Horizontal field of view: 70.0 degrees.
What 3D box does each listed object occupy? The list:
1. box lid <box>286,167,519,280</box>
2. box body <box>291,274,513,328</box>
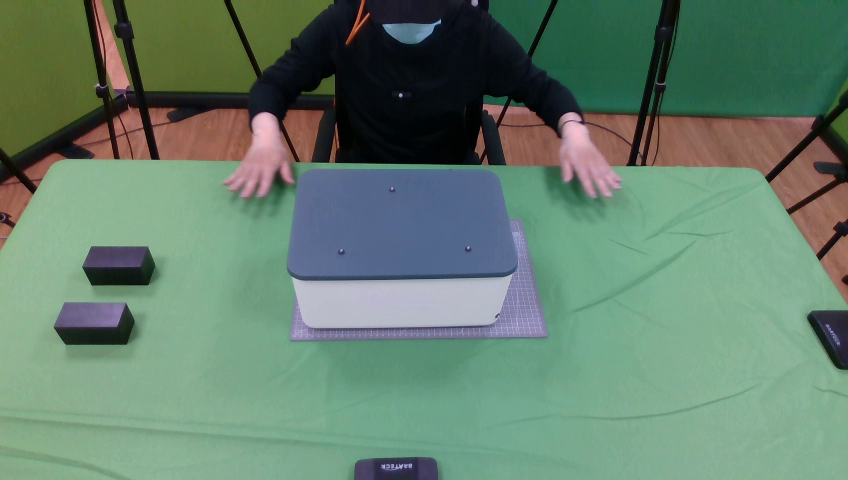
[{"bbox_3d":[-0.035,-0.036,1.021,0.372,0.015,0.261,-1,46,-4],"label":"box lid"},{"bbox_3d":[-0.040,0.015,1.075,0.364,0.161,0.252,-1,47,-4],"label":"box body"}]
